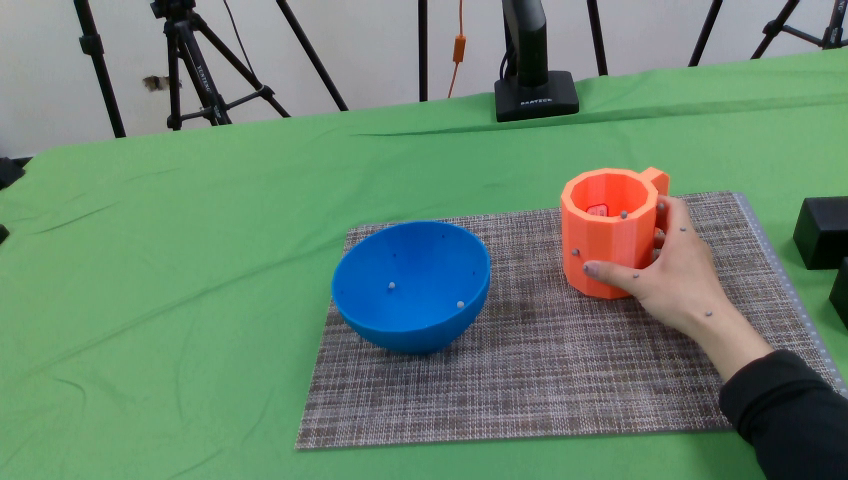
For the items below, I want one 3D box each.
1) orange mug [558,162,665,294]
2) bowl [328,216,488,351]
[{"bbox_3d":[0.190,-0.021,0.598,0.126,0.102,0.082,-36,44,-19],"label":"orange mug"},{"bbox_3d":[-0.009,0.053,0.582,0.151,0.077,0.150,-7,40,6],"label":"bowl"}]
